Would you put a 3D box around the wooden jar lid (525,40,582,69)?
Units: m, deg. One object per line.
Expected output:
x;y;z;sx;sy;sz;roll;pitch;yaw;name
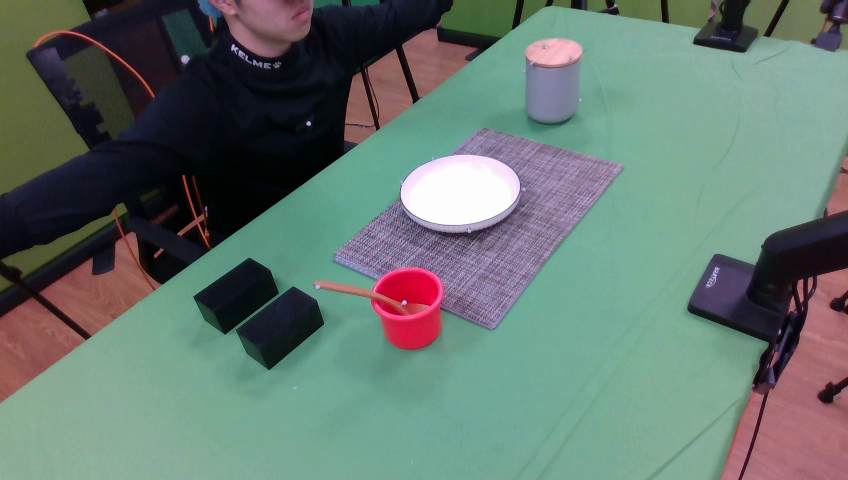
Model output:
0.249;-0.354;1.167;0.108;0.021;0.108;-4;44;5;wooden jar lid

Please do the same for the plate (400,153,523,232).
0.065;-0.078;1.034;0.207;0.039;0.206;-4;41;4;plate

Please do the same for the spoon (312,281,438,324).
-0.060;0.078;0.793;0.195;0.021;0.041;24;25;-35;spoon

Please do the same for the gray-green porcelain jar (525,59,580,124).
0.256;-0.306;1.209;0.106;0.127;0.105;-4;41;4;gray-green porcelain jar
